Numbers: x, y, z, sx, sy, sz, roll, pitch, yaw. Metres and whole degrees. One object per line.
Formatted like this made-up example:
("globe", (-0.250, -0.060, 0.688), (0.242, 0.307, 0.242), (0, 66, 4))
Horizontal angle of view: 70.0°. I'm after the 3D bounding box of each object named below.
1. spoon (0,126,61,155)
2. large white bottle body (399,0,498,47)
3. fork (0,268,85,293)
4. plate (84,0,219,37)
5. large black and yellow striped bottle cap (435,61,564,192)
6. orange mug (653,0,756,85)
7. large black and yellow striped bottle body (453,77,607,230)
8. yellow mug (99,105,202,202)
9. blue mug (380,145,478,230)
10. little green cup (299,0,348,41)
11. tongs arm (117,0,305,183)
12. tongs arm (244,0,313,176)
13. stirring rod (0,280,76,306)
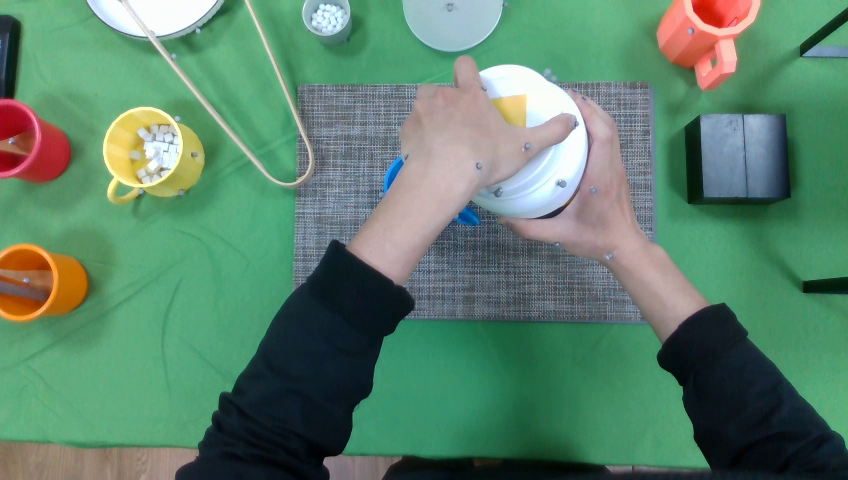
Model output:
("spoon", (-0.546, -0.111, 0.729), (0.194, 0.021, 0.041), (-19, 80, -44))
("large white bottle body", (0.027, -0.321, 0.701), (0.130, 0.185, 0.130), (0, 84, 3))
("fork", (-0.515, 0.034, 0.711), (0.209, 0.018, 0.028), (18, 83, -39))
("plate", (-0.350, -0.364, 0.795), (0.207, 0.039, 0.207), (0, 85, 3))
("large black and yellow striped bottle cap", (0.063, -0.099, 0.525), (0.114, 0.019, 0.114), (-5, 79, 27))
("orange mug", (0.336, -0.256, 0.724), (0.083, 0.101, 0.125), (-9, 80, 2))
("large black and yellow striped bottle body", (0.102, -0.086, 0.602), (0.130, 0.185, 0.130), (-4, 82, 25))
("yellow mug", (-0.350, -0.099, 0.758), (0.100, 0.064, 0.131), (39, 89, 5))
("blue mug", (0.010, -0.052, 0.714), (0.116, 0.106, 0.082), (26, 86, 5))
("little green cup", (-0.127, -0.288, 0.778), (0.061, 0.039, 0.061), (0, 86, 2))
("tongs arm", (-0.289, -0.219, 0.761), (0.051, 0.026, 0.385), (-38, 91, -4))
("tongs arm", (-0.218, -0.264, 0.764), (0.028, 0.028, 0.387), (-24, 91, -8))
("stirring rod", (-0.507, 0.052, 0.713), (0.006, 0.178, 0.014), (-14, 64, 44))
